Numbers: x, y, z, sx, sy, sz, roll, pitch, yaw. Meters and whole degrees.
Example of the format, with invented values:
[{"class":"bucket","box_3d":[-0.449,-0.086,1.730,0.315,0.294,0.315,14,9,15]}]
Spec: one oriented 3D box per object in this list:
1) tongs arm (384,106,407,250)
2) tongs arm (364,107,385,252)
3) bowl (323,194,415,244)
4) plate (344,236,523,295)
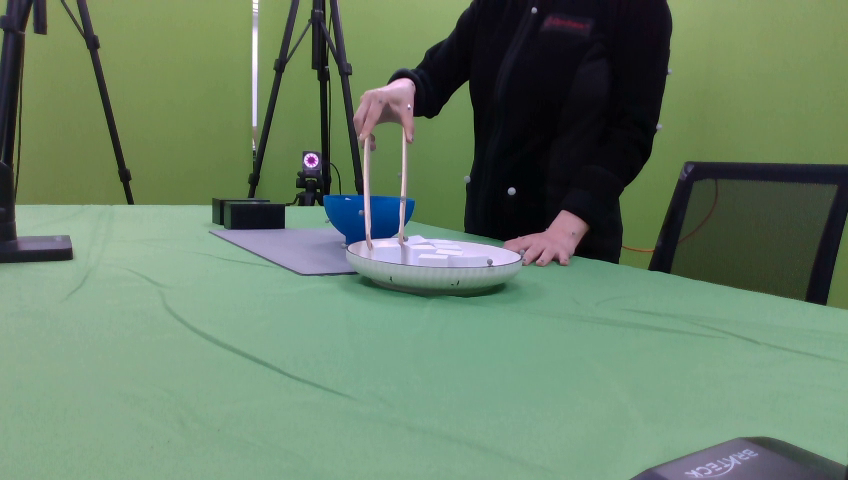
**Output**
[{"class":"tongs arm","box_3d":[-0.047,-0.107,0.870,0.051,0.026,0.384,-4,35,4]},{"class":"tongs arm","box_3d":[-0.071,-0.104,0.870,0.028,0.028,0.386,-9,35,3]},{"class":"bowl","box_3d":[-0.090,-0.032,0.986,0.151,0.077,0.151,2,7,0]},{"class":"plate","box_3d":[0.010,0.030,0.707,0.208,0.039,0.207,3,8,0]}]
